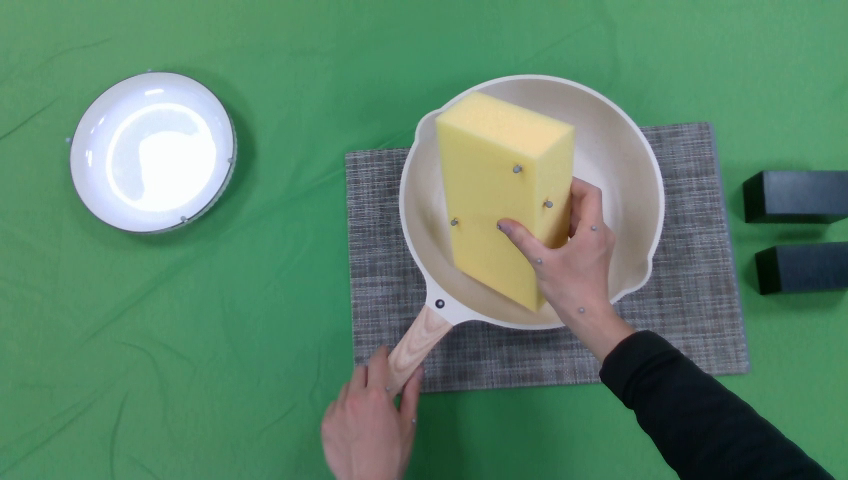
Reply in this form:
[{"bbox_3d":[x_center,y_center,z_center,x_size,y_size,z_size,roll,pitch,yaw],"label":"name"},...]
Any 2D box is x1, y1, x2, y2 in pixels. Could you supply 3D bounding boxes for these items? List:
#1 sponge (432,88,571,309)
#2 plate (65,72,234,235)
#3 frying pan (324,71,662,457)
[{"bbox_3d":[0.081,-0.037,0.623,0.117,0.209,0.061,28,55,33],"label":"sponge"},{"bbox_3d":[-0.336,-0.105,0.756,0.207,0.039,0.207,0,80,3],"label":"plate"},{"bbox_3d":[0.052,0.032,0.674,0.306,0.103,0.487,38,76,10],"label":"frying pan"}]
